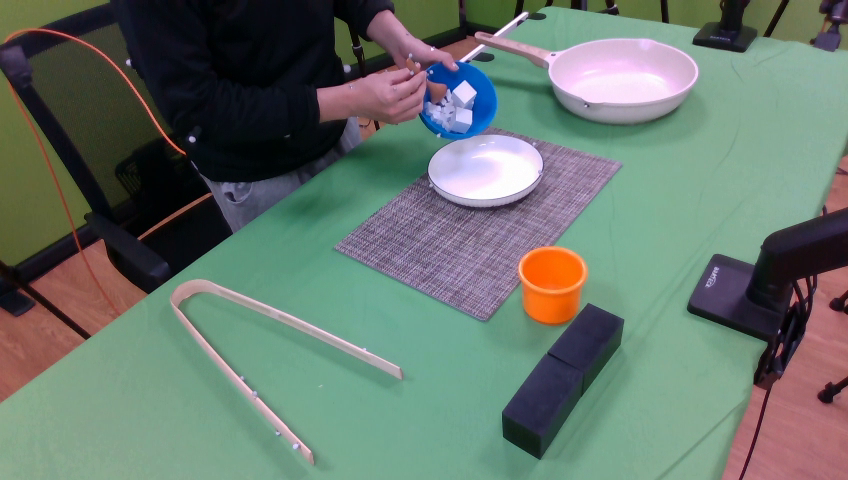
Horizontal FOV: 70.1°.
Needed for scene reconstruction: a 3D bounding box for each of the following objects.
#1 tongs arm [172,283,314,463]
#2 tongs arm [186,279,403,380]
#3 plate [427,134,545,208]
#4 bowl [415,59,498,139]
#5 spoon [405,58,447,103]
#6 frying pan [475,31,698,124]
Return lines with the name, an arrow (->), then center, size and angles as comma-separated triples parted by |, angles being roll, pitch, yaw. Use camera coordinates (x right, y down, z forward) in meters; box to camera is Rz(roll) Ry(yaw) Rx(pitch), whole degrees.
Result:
tongs arm -> -0.246, 0.161, 0.806 | 0.381, 0.026, 0.051 | 29, 51, 36
tongs arm -> -0.193, 0.120, 0.853 | 0.385, 0.028, 0.028 | 17, 48, 27
plate -> 0.110, -0.119, 1.073 | 0.207, 0.039, 0.206 | -4, 41, 4
bowl -> 0.053, -0.242, 1.099 | 0.152, 0.077, 0.151 | 3, 73, -8
spoon -> 0.002, -0.270, 1.022 | 0.021, 0.195, 0.041 | 45, 101, 19
frying pan -> 0.320, -0.371, 1.290 | 0.485, 0.103, 0.307 | 28, 50, 23
